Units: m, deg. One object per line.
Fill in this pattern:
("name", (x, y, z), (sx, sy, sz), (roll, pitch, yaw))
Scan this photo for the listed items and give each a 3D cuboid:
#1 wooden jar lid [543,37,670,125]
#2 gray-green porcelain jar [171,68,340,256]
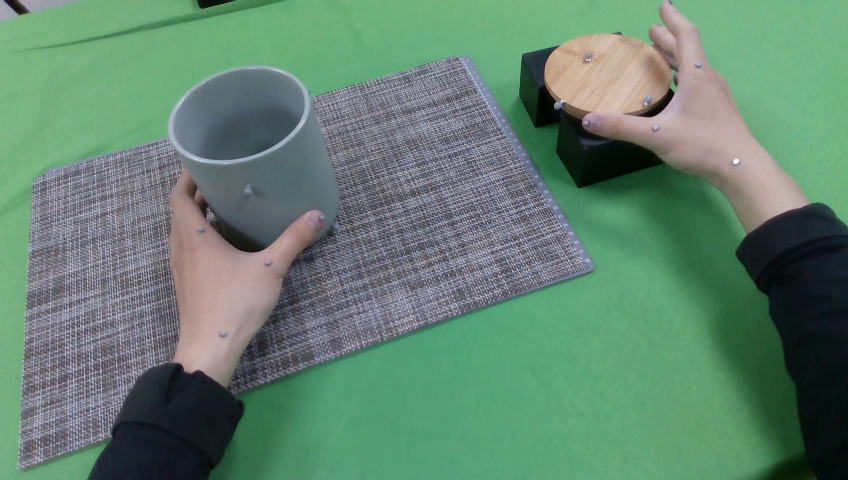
("wooden jar lid", (0.160, -0.140, 0.537), (0.108, 0.021, 0.107), (-2, 55, 3))
("gray-green porcelain jar", (-0.129, -0.056, 0.495), (0.106, 0.128, 0.105), (-3, 54, 4))
